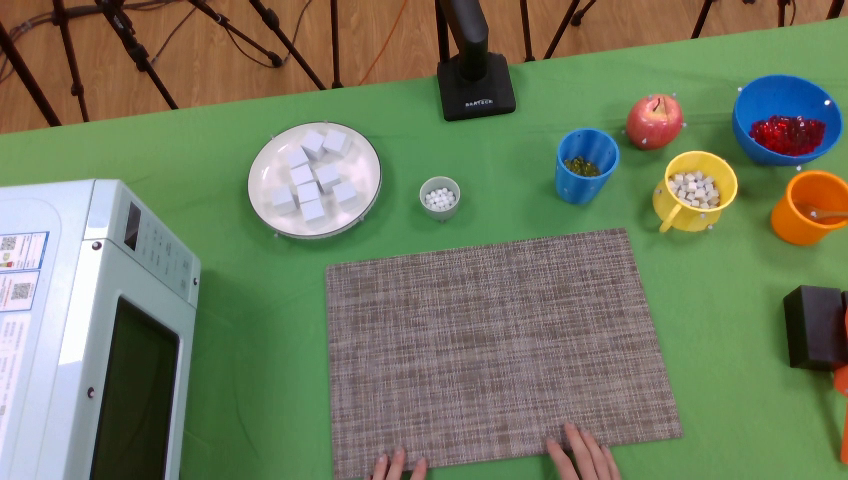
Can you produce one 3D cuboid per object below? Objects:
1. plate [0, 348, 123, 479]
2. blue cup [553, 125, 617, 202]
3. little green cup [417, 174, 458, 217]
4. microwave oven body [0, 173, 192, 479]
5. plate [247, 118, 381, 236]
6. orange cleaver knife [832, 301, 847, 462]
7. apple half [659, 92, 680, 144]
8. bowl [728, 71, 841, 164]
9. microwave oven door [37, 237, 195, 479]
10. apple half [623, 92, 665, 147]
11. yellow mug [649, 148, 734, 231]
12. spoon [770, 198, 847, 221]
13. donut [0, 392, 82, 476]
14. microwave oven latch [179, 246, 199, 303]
[{"bbox_3d":[-0.470,0.238,0.743,0.209,0.038,0.207,-1,66,2],"label":"plate"},{"bbox_3d":[0.228,-0.105,0.888,0.092,0.101,0.092,-1,67,2],"label":"blue cup"},{"bbox_3d":[0.022,-0.065,0.918,0.061,0.039,0.061,-2,65,4],"label":"little green cup"},{"bbox_3d":[-0.487,0.181,0.713,0.326,0.262,0.438,-4,66,1],"label":"microwave oven body"},{"bbox_3d":[-0.168,-0.096,0.945,0.207,0.039,0.206,-1,65,3],"label":"plate"},{"bbox_3d":[0.530,0.167,0.755,0.012,0.077,0.211,6,96,9],"label":"orange cleaver knife"},{"bbox_3d":[0.374,-0.185,0.929,0.033,0.082,0.080,-3,65,6],"label":"apple half"},{"bbox_3d":[0.526,-0.170,0.911,0.151,0.077,0.150,-2,66,4],"label":"bowl"},{"bbox_3d":[-0.340,0.205,0.686,0.039,0.246,0.353,-5,65,2],"label":"microwave oven door"},{"bbox_3d":[0.334,-0.183,0.933,0.053,0.075,0.080,-3,69,6],"label":"apple half"},{"bbox_3d":[0.378,-0.064,0.879,0.099,0.064,0.130,38,75,19],"label":"yellow mug"},{"bbox_3d":[0.561,-0.035,0.808,0.041,0.192,0.022,-47,115,-16],"label":"spoon"},{"bbox_3d":[-0.467,0.235,0.734,0.099,0.048,0.098,0,75,1],"label":"donut"},{"bbox_3d":[-0.343,0.050,0.869,0.030,0.030,0.078,-2,66,2],"label":"microwave oven latch"}]
